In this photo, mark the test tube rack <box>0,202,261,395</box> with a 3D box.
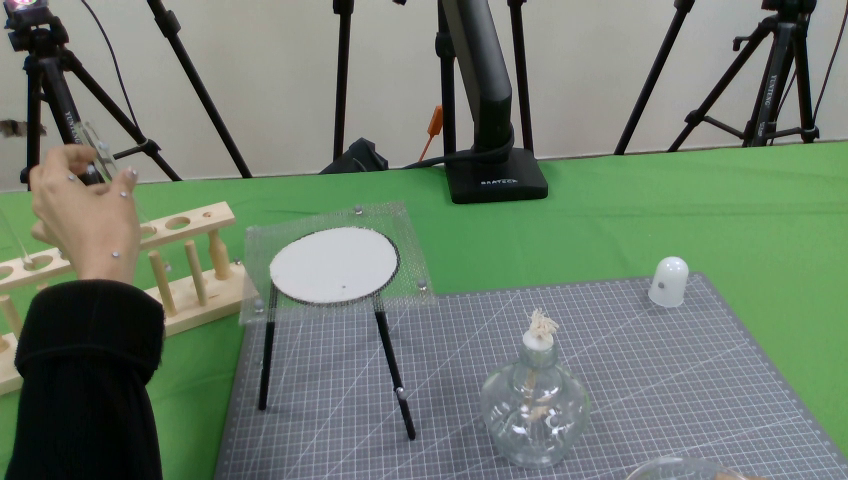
[{"bbox_3d":[-0.282,0.049,0.545,0.243,0.086,0.066,-19,38,-23],"label":"test tube rack"}]

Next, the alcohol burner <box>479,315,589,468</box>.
[{"bbox_3d":[0.078,0.101,0.422,0.078,0.120,0.077,-2,33,1],"label":"alcohol burner"}]

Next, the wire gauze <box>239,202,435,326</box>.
[{"bbox_3d":[-0.064,0.014,0.420,0.125,0.011,0.120,-8,35,-8],"label":"wire gauze"}]

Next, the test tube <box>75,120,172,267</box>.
[{"bbox_3d":[-0.257,-0.035,0.526,0.017,0.152,0.017,-8,37,7],"label":"test tube"}]

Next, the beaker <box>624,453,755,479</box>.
[{"bbox_3d":[0.110,0.158,0.267,0.084,0.101,0.073,-7,34,-10],"label":"beaker"}]

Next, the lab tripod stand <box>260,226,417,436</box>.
[{"bbox_3d":[-0.062,0.068,0.459,0.148,0.132,0.147,-2,37,2],"label":"lab tripod stand"}]

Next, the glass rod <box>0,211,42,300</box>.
[{"bbox_3d":[-0.333,0.005,0.493,0.008,0.201,0.008,-1,39,1],"label":"glass rod"}]

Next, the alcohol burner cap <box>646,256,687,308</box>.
[{"bbox_3d":[0.229,0.037,0.571,0.034,0.048,0.033,-1,35,1],"label":"alcohol burner cap"}]
